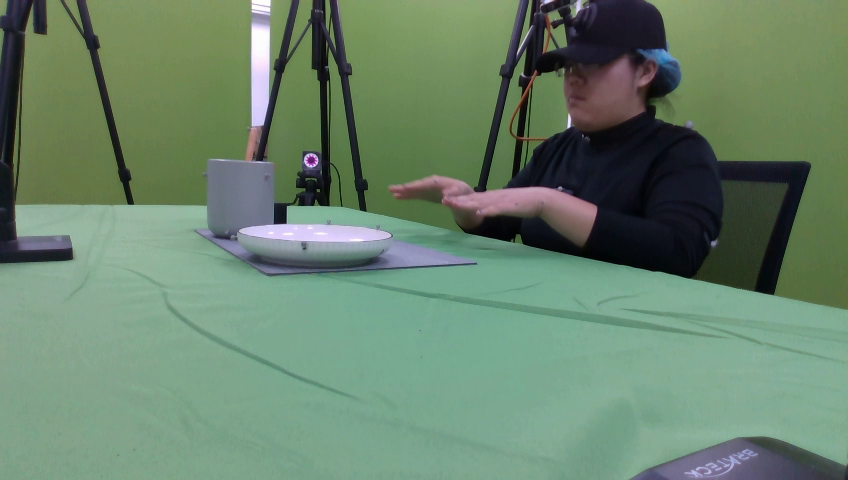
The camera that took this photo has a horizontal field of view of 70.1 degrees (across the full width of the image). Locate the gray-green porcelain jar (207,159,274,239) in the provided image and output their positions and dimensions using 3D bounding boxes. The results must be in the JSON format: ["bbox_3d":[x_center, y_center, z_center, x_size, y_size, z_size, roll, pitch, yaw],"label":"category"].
[{"bbox_3d":[-0.304,-0.068,1.004,0.106,0.126,0.106,3,7,0],"label":"gray-green porcelain jar"}]

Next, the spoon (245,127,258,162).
[{"bbox_3d":[-0.299,-0.115,1.032,0.041,0.193,0.022,-6,-24,11],"label":"spoon"}]

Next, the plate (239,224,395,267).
[{"bbox_3d":[-0.144,0.007,0.823,0.208,0.039,0.207,3,7,0],"label":"plate"}]
